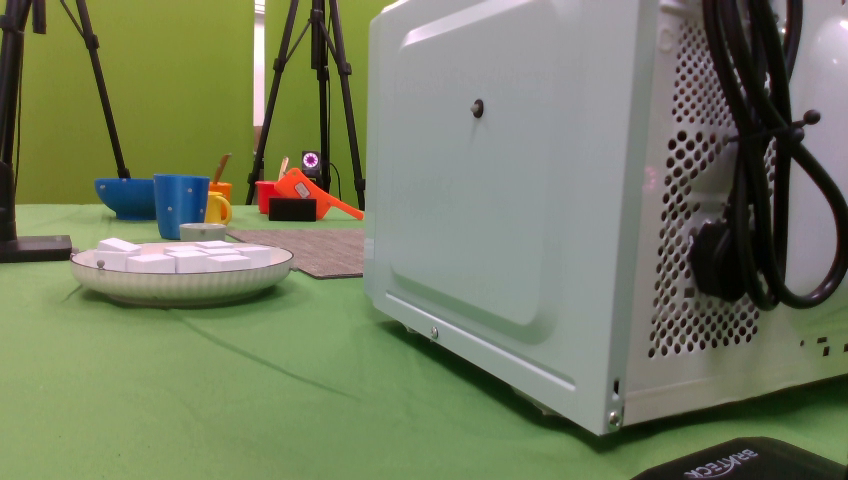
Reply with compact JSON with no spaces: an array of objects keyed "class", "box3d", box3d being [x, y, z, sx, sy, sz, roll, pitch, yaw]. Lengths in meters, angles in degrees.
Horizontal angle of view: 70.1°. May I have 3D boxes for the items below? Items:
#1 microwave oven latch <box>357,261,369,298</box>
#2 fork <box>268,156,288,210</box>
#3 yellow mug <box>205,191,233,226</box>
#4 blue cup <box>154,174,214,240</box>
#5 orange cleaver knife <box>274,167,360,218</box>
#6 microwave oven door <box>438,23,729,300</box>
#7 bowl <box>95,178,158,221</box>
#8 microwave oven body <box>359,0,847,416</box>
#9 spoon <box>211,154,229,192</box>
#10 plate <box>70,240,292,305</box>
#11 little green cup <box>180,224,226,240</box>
[{"class":"microwave oven latch","box3d":[-0.019,0.033,0.530,0.079,0.029,0.030,0,7,-25]},{"class":"fork","box3d":[-0.360,-0.144,1.508,0.028,0.018,0.207,1,49,0]},{"class":"yellow mug","box3d":[-0.415,-0.057,1.131,0.130,0.064,0.100,6,8,16]},{"class":"blue cup","box3d":[-0.391,-0.053,0.978,0.093,0.100,0.092,3,6,0]},{"class":"orange cleaver knife","box3d":[-0.238,-0.091,1.381,0.212,0.077,0.012,31,0,-19]},{"class":"microwave oven door","box3d":[0.181,-0.072,0.620,0.358,0.243,0.039,-2,8,-29]},{"class":"bowl","box3d":[-0.576,-0.081,1.217,0.151,0.077,0.151,3,8,0]},{"class":"microwave oven body","box3d":[0.211,-0.047,0.474,0.444,0.260,0.324,-1,7,-28]},{"class":"spoon","box3d":[-0.431,-0.115,1.253,0.042,0.193,0.021,-3,54,-33]},{"class":"plate","box3d":[-0.242,0.031,0.618,0.208,0.039,0.207,2,8,0]},{"class":"little green cup","box3d":[-0.309,-0.001,0.846,0.061,0.038,0.061,2,8,0]}]
